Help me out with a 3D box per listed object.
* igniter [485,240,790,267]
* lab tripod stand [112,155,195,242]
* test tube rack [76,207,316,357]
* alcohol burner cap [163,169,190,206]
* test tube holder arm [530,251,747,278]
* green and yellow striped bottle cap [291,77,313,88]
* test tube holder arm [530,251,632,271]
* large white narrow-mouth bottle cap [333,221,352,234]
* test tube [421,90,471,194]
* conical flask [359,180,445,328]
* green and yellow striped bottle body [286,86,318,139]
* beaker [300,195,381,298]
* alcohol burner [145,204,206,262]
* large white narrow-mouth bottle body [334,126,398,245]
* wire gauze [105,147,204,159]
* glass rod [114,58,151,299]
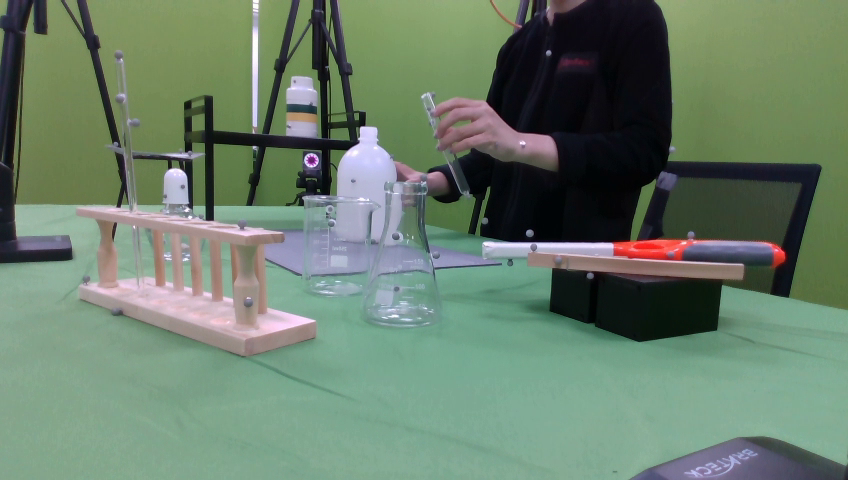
[{"bbox_3d":[0.197,0.012,0.585,0.276,0.025,0.057,1,5,12],"label":"igniter"},{"bbox_3d":[-0.405,-0.064,0.931,0.148,0.131,0.148,1,7,0],"label":"lab tripod stand"},{"bbox_3d":[-0.196,0.023,0.500,0.241,0.085,0.067,8,9,36],"label":"test tube rack"},{"bbox_3d":[-0.320,-0.067,0.782,0.034,0.048,0.034,1,7,0],"label":"alcohol burner cap"},{"bbox_3d":[0.182,0.022,0.523,0.178,0.015,0.013,3,7,12],"label":"test tube holder arm"},{"bbox_3d":[-0.250,-0.321,1.238,0.045,0.020,0.045,3,6,0],"label":"green and yellow striped bottle cap"},{"bbox_3d":[0.139,0.019,0.538,0.087,0.015,0.010,3,6,13],"label":"test tube holder arm"},{"bbox_3d":[-0.152,-0.024,1.134,0.038,0.024,0.037,4,7,0],"label":"large white narrow-mouth bottle cap"},{"bbox_3d":[0.031,-0.133,0.831,0.017,0.150,0.017,-23,8,3],"label":"test tube"},{"bbox_3d":[-0.017,0.010,0.522,0.075,0.122,0.075,2,7,0],"label":"conical flask"},{"bbox_3d":[-0.251,-0.270,1.245,0.063,0.119,0.063,2,7,0],"label":"green and yellow striped bottle body"},{"bbox_3d":[-0.087,0.006,0.626,0.084,0.100,0.074,1,8,-17],"label":"beaker"},{"bbox_3d":[-0.322,-0.032,0.788,0.078,0.119,0.078,0,7,0],"label":"alcohol burner"},{"bbox_3d":[-0.096,-0.094,1.023,0.102,0.194,0.102,5,7,0],"label":"large white narrow-mouth bottle body"},{"bbox_3d":[-0.407,-0.131,0.928,0.125,0.011,0.121,2,6,-11],"label":"wire gauze"},{"bbox_3d":[-0.236,-0.044,0.492,0.008,0.199,0.008,0,15,0],"label":"glass rod"}]
